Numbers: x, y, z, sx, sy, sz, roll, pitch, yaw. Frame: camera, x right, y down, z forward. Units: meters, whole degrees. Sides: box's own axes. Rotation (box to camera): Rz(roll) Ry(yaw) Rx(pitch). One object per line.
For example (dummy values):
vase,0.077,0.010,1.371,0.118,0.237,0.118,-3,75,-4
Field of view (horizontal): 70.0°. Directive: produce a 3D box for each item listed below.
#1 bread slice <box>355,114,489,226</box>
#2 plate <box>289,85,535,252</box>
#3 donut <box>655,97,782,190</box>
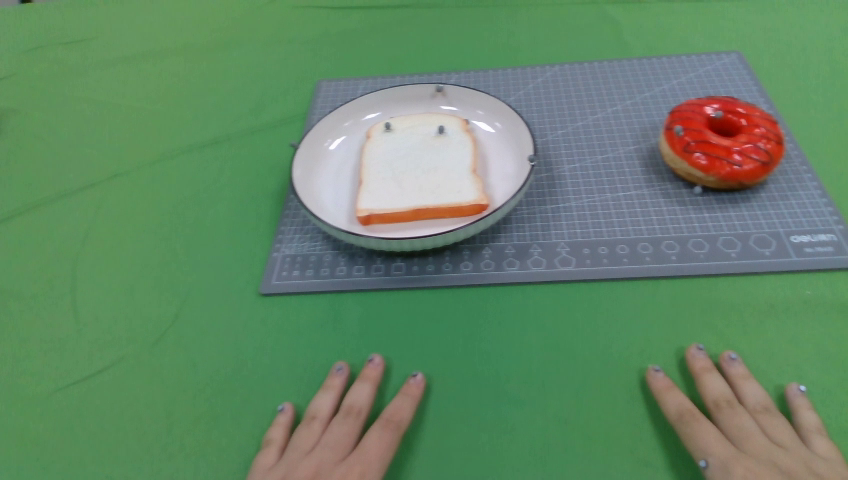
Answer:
bread slice,-0.007,-0.065,0.528,0.107,0.018,0.133,-7,47,-1
plate,-0.010,-0.062,0.524,0.209,0.038,0.207,-3,46,4
donut,0.244,-0.080,0.505,0.099,0.049,0.098,-2,48,3
